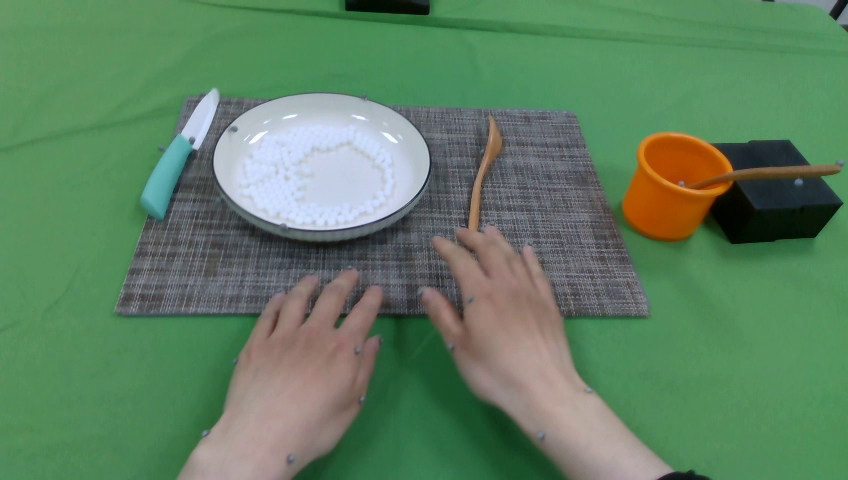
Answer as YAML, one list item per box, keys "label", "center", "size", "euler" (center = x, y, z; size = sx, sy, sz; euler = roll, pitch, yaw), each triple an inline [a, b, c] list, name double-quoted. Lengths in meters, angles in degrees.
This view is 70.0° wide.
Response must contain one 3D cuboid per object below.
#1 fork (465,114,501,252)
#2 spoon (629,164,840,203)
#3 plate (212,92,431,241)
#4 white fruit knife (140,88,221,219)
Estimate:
- label: "fork"
  center: [0.060, -0.065, 0.625]
  size: [0.018, 0.028, 0.205]
  euler: [-9, 44, 27]
- label: "spoon"
  center: [0.276, -0.054, 0.562]
  size: [0.041, 0.193, 0.022]
  euler: [-27, 100, -31]
- label: "plate"
  center: [-0.097, -0.073, 0.598]
  size: [0.209, 0.038, 0.207]
  euler: [4, 47, -4]
- label: "white fruit knife"
  center: [-0.243, -0.098, 0.618]
  size: [0.027, 0.016, 0.205]
  euler: [28, 41, -21]
